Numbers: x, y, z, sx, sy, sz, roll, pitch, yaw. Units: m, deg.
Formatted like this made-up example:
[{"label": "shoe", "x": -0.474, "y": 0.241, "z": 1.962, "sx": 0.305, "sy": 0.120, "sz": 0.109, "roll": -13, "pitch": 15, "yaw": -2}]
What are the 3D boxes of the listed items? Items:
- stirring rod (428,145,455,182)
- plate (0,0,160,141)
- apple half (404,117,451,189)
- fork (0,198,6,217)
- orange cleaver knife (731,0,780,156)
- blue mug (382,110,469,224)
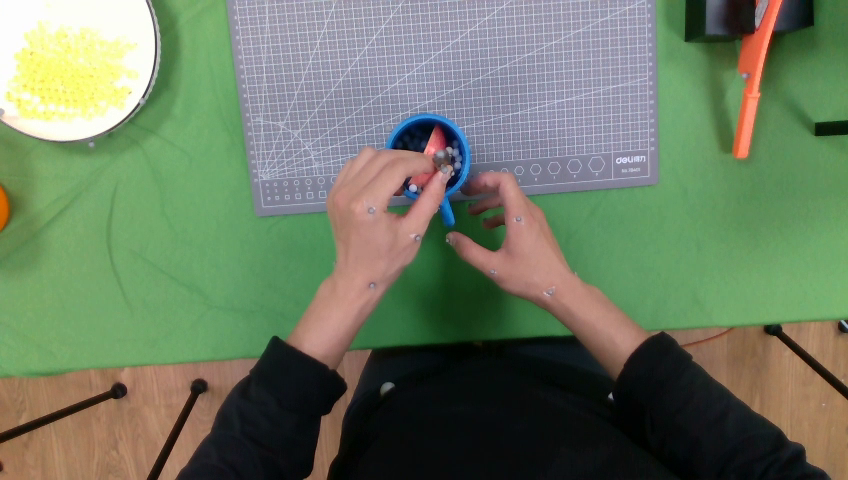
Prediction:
[{"label": "stirring rod", "x": 0.017, "y": -0.065, "z": 0.531, "sx": 0.014, "sy": 0.176, "sz": 0.006, "roll": -39, "pitch": 86, "yaw": 4}, {"label": "plate", "x": -0.374, "y": -0.208, "z": 0.625, "sx": 0.209, "sy": 0.038, "sz": 0.209, "roll": 0, "pitch": 100, "yaw": -1}, {"label": "apple half", "x": 0.011, "y": -0.083, "z": 0.608, "sx": 0.033, "sy": 0.081, "sz": 0.081, "roll": 23, "pitch": 98, "yaw": 6}, {"label": "fork", "x": -0.536, "y": -0.042, "z": 0.594, "sx": 0.209, "sy": 0.018, "sz": 0.028, "roll": 5, "pitch": 100, "yaw": -46}, {"label": "orange cleaver knife", "x": 0.335, "y": -0.191, "z": 0.619, "sx": 0.012, "sy": 0.076, "sz": 0.213, "roll": -2, "pitch": 126, "yaw": 8}, {"label": "blue mug", "x": 0.007, "y": -0.072, "z": 0.619, "sx": 0.082, "sy": 0.105, "sz": 0.117, "roll": -20, "pitch": 99, "yaw": 3}]
